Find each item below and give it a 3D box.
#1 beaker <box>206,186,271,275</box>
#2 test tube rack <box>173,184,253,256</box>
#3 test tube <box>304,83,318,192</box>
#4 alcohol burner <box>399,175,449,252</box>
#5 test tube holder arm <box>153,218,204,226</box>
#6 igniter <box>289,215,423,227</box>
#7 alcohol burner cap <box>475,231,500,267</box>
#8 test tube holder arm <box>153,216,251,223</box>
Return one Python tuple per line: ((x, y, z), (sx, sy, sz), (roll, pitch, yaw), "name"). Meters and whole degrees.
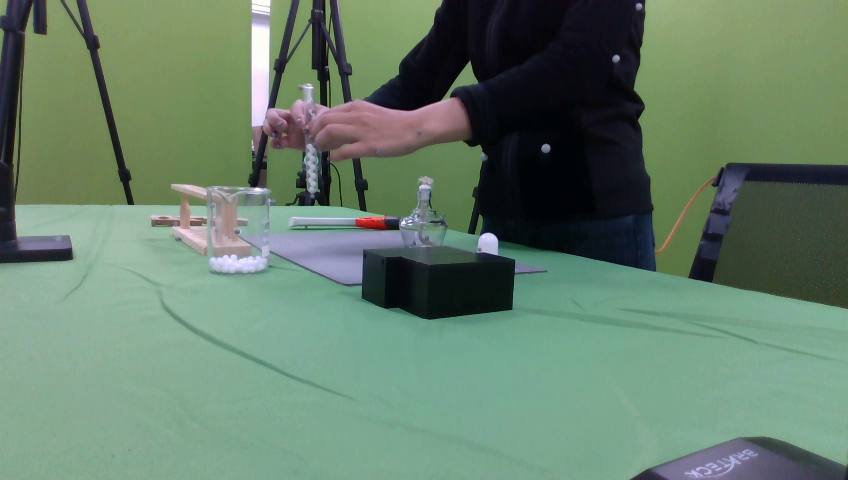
((-0.221, -0.012, 0.717), (0.074, 0.100, 0.084), (2, 8, -3), "beaker")
((-0.329, -0.036, 0.927), (0.067, 0.085, 0.241), (-2, 9, -32), "test tube rack")
((-0.156, -0.141, 0.834), (0.017, 0.150, 0.017), (-2, -1, 0), "test tube")
((-0.001, -0.041, 0.937), (0.078, 0.119, 0.078), (0, 8, 0), "alcohol burner")
((-0.459, -0.034, 1.132), (0.088, 0.015, 0.010), (-1, 43, -30), "test tube holder arm")
((-0.133, -0.038, 1.232), (0.278, 0.025, 0.057), (-1, -2, -25), "igniter")
((0.088, 0.012, 0.830), (0.034, 0.048, 0.034), (2, 6, 0), "alcohol burner cap")
((-0.422, -0.039, 1.159), (0.179, 0.015, 0.013), (-2, 43, -31), "test tube holder arm")
